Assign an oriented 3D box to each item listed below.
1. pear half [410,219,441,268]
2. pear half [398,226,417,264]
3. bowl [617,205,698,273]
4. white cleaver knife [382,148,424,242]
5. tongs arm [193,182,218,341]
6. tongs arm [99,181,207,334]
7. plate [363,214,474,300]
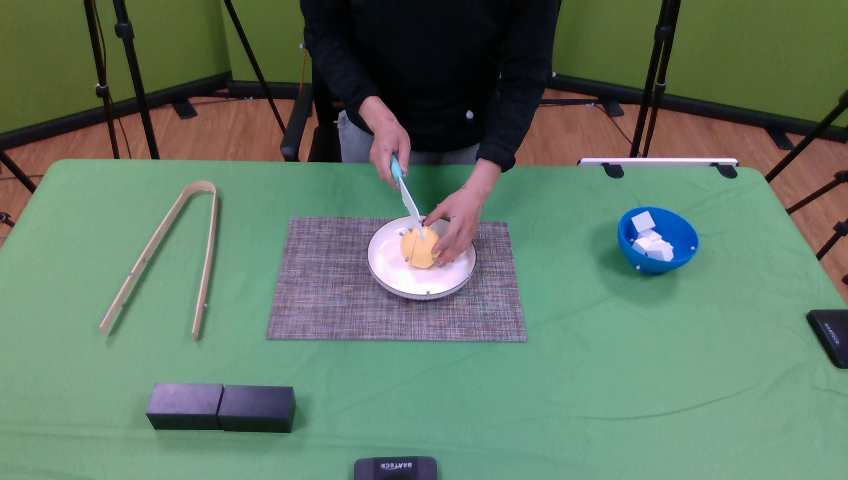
[{"bbox_3d":[0.005,0.002,1.118,0.056,0.110,0.076,5,51,1],"label":"pear half"},{"bbox_3d":[-0.032,0.004,1.125,0.031,0.088,0.070,6,49,-2],"label":"pear half"},{"bbox_3d":[0.442,0.011,1.181,0.151,0.077,0.150,2,46,-2],"label":"bowl"},{"bbox_3d":[-0.040,-0.086,1.075,0.021,0.066,0.284,-12,33,-7],"label":"white cleaver knife"},{"bbox_3d":[-0.413,0.025,1.140,0.028,0.028,0.385,-5,47,-7],"label":"tongs arm"},{"bbox_3d":[-0.494,0.018,1.132,0.051,0.026,0.382,7,45,0],"label":"tongs arm"},{"bbox_3d":[-0.010,0.036,1.146,0.208,0.039,0.206,2,46,-2],"label":"plate"}]
